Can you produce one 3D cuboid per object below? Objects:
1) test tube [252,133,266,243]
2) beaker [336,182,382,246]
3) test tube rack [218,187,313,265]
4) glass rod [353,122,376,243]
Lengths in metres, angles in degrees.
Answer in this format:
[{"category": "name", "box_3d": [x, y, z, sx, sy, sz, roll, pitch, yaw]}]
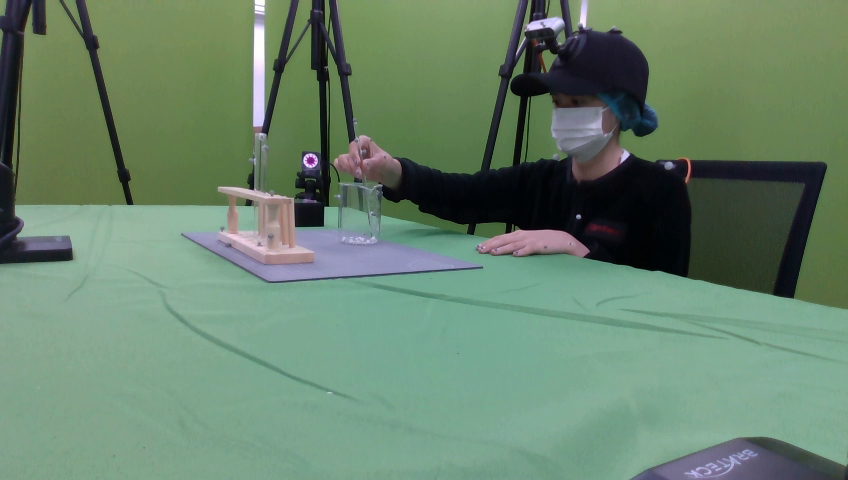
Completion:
[{"category": "test tube", "box_3d": [-0.225, -0.070, 0.826, 0.017, 0.150, 0.017, 2, 2, 0]}, {"category": "beaker", "box_3d": [-0.107, -0.043, 0.996, 0.074, 0.100, 0.083, -2, 10, -29]}, {"category": "test tube rack", "box_3d": [-0.235, -0.027, 0.872, 0.067, 0.085, 0.241, -2, 8, -32]}, {"category": "glass rod", "box_3d": [-0.097, -0.093, 0.983, 0.008, 0.199, 0.008, -9, 5, 1]}]
